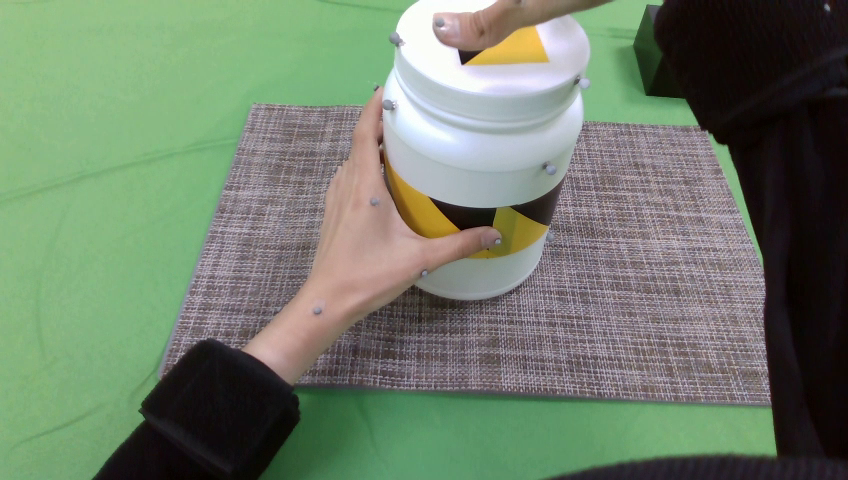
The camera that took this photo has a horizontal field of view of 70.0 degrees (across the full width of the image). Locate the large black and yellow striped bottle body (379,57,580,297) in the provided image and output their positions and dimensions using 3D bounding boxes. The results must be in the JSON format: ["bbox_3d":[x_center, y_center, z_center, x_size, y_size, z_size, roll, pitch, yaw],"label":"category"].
[{"bbox_3d":[0.034,-0.061,0.426,0.131,0.185,0.129,2,50,-2],"label":"large black and yellow striped bottle body"}]

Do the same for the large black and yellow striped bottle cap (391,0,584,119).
[{"bbox_3d":[0.038,-0.116,0.362,0.115,0.019,0.114,2,51,-3],"label":"large black and yellow striped bottle cap"}]
